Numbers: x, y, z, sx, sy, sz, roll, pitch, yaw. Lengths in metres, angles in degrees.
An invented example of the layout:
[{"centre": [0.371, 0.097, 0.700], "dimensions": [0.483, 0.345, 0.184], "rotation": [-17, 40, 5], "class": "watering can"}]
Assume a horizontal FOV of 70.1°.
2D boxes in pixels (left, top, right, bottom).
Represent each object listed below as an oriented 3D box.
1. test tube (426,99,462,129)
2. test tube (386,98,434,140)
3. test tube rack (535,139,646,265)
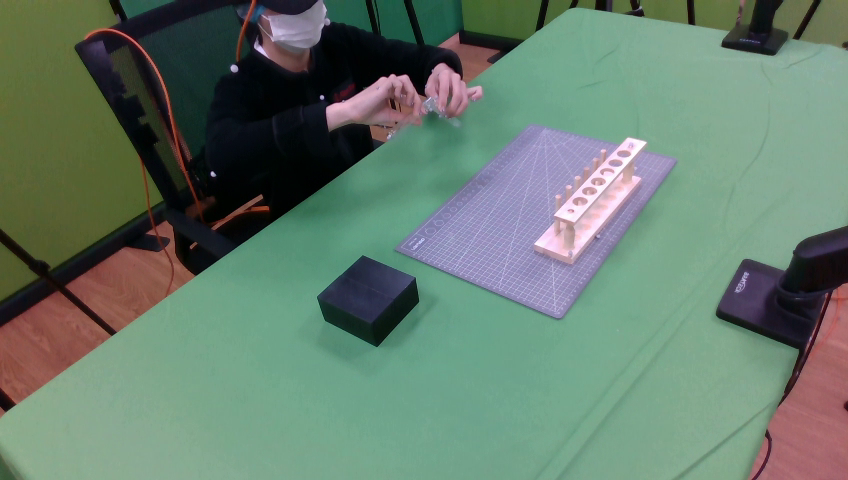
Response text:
[{"centre": [0.039, -0.224, 1.089], "dimensions": [0.017, 0.017, 0.151], "rotation": [12, 0, 23], "class": "test tube"}, {"centre": [-0.021, -0.194, 0.965], "dimensions": [0.017, 0.017, 0.150], "rotation": [12, 37, 22], "class": "test tube"}, {"centre": [0.269, -0.071, 0.964], "dimensions": [0.066, 0.085, 0.243], "rotation": [23, 49, 32], "class": "test tube rack"}]
